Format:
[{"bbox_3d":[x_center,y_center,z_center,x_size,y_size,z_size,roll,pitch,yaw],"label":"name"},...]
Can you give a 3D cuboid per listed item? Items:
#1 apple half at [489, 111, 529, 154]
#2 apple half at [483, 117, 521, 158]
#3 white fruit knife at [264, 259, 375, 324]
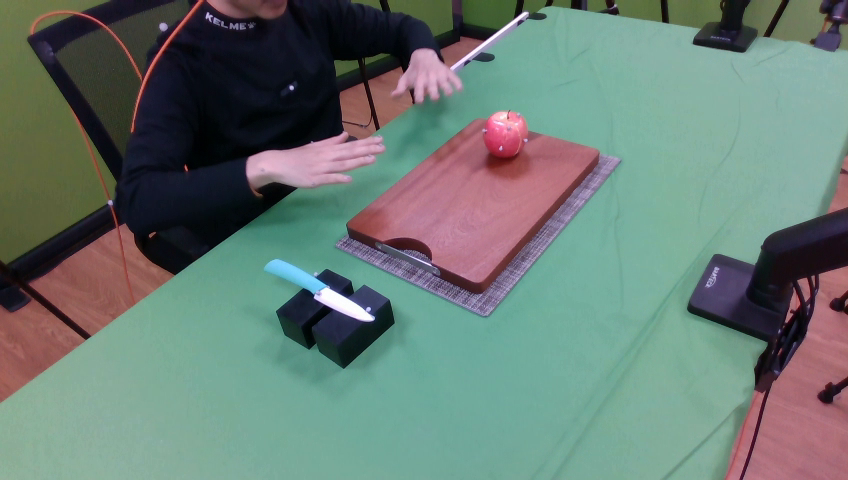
[{"bbox_3d":[0.156,-0.197,1.091,0.080,0.075,0.053,21,44,34],"label":"apple half"},{"bbox_3d":[0.131,-0.175,1.069,0.080,0.081,0.033,24,48,32],"label":"apple half"},{"bbox_3d":[-0.147,0.070,0.839,0.206,0.016,0.027,24,79,29],"label":"white fruit knife"}]
